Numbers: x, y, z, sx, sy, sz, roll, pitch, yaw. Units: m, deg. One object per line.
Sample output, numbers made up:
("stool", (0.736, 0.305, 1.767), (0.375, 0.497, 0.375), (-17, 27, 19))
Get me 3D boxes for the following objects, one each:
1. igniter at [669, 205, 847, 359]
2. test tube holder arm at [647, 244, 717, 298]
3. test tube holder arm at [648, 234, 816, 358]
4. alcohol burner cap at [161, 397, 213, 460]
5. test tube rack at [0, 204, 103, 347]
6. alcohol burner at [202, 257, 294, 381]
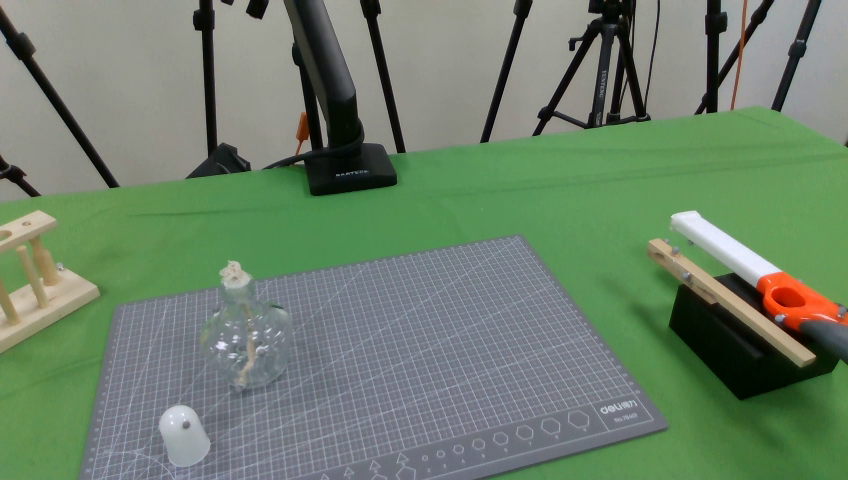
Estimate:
("igniter", (0.314, 0.038, 0.539), (0.057, 0.025, 0.273), (-11, 32, -13))
("test tube holder arm", (0.244, 0.026, 0.569), (0.015, 0.010, 0.087), (-19, 35, -14))
("test tube holder arm", (0.260, 0.043, 0.531), (0.015, 0.013, 0.176), (-19, 36, -14))
("alcohol burner cap", (-0.183, 0.141, 0.464), (0.034, 0.048, 0.033), (1, 34, 0))
("test tube rack", (-0.434, 0.064, 0.549), (0.066, 0.086, 0.242), (21, 40, 28))
("alcohol burner", (-0.152, 0.062, 0.515), (0.078, 0.120, 0.077), (1, 36, 0))
